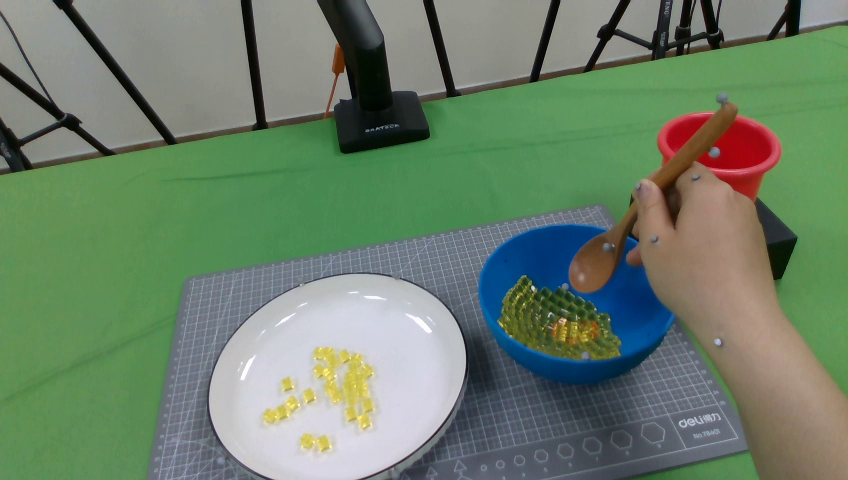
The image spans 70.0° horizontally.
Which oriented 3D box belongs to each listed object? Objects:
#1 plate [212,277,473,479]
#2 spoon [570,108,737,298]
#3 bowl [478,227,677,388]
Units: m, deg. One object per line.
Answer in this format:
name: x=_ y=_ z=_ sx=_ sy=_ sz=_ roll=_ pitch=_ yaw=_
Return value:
plate: x=-0.063 y=0.114 z=0.496 sx=0.207 sy=0.039 sz=0.205 roll=-4 pitch=41 yaw=4
spoon: x=0.150 y=-0.017 z=0.418 sx=0.022 sy=0.195 sz=0.041 roll=2 pitch=56 yaw=-13
bowl: x=0.120 y=0.067 z=0.493 sx=0.151 sy=0.077 sz=0.150 roll=-4 pitch=41 yaw=4
